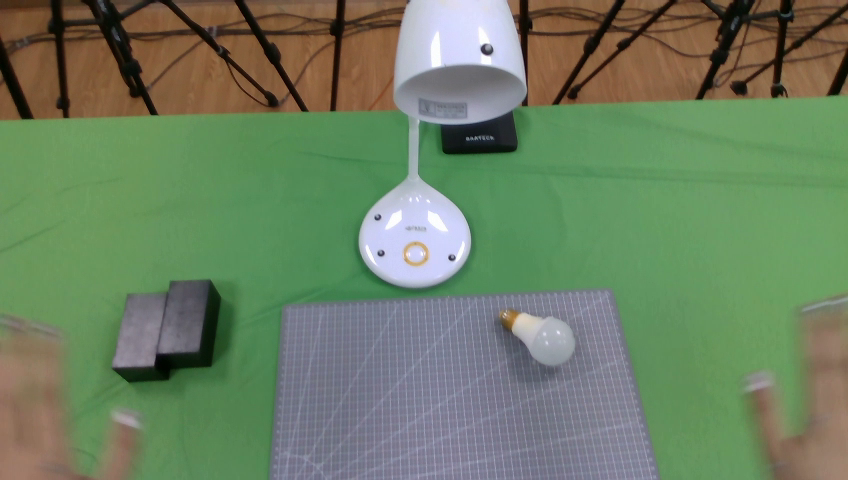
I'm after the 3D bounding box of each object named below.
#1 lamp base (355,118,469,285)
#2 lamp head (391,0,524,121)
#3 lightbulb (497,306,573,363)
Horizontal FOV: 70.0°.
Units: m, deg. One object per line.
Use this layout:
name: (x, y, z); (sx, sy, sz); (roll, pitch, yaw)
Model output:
lamp base: (-0.018, -0.058, 0.802); (0.161, 0.182, 0.177); (-7, 56, -6)
lamp head: (0.025, -0.175, 0.518); (0.112, 0.113, 0.122); (-3, 73, -3)
lightbulb: (0.139, 0.115, 0.774); (0.106, 0.060, 0.059); (28, 60, 33)
